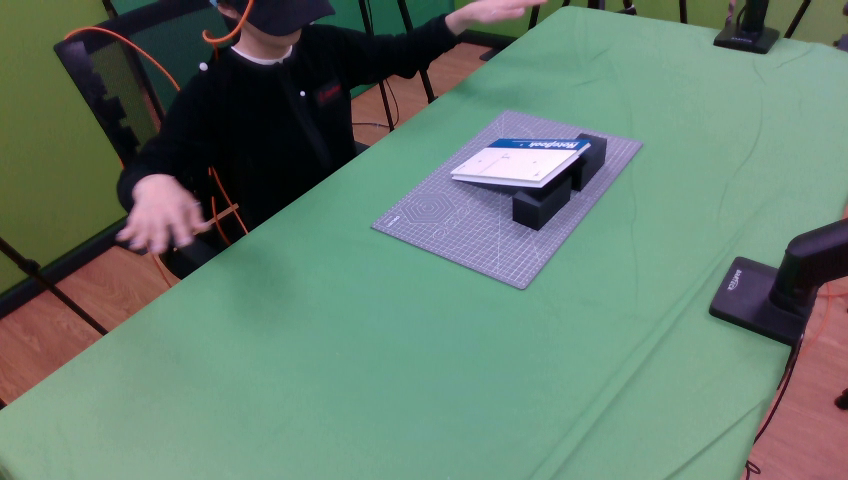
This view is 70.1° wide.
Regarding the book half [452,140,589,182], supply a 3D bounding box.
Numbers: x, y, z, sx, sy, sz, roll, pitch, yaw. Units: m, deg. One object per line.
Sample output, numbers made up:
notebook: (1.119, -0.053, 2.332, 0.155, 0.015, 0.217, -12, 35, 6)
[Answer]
book half: (0.165, -0.143, 1.065, 0.144, 0.007, 0.208, -37, 30, -30)
